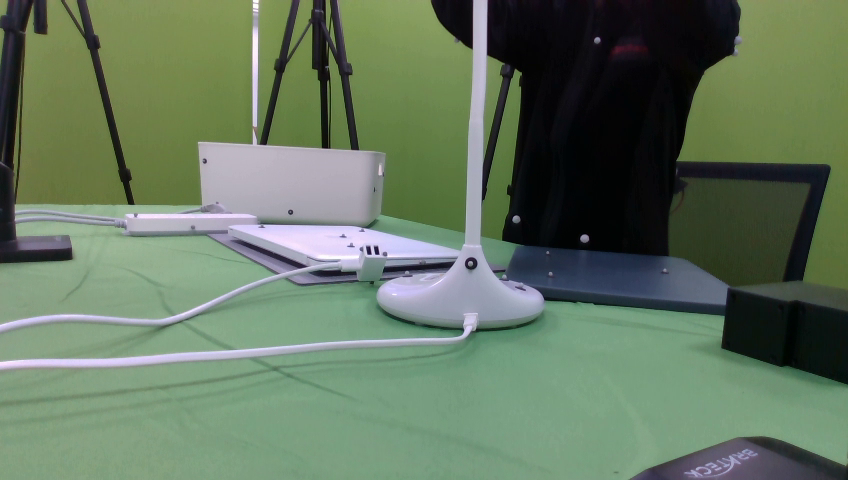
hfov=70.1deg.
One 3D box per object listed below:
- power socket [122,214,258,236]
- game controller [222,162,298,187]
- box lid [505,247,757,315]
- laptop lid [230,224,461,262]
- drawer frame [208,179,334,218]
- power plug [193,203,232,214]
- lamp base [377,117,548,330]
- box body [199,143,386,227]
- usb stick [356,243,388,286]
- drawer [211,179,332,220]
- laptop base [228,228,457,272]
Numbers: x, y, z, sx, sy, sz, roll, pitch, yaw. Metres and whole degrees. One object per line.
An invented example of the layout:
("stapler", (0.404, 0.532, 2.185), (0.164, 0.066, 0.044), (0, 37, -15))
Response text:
("power socket", (-0.399, -0.028, 1.049), (0.228, 0.032, 0.072), (-3, 8, -34))
("game controller", (-0.357, -0.143, 1.322), (0.156, 0.051, 0.097), (1, 3, -16))
("box lid", (0.244, 0.044, 0.793), (0.263, 0.015, 0.372), (4, 7, 11))
("laptop lid", (-0.119, 0.000, 0.889), (0.243, 0.013, 0.355), (1, 7, -33))
("drawer frame", (-0.327, -0.093, 1.328), (0.213, 0.082, 0.202), (0, 5, 6))
("power plug", (-0.394, -0.042, 1.139), (0.072, 0.052, 0.035), (-14, 1, 31))
("lamp base", (0.041, -0.020, 0.550), (0.161, 0.180, 0.179), (1, 11, -10))
("box body", (-0.276, -0.124, 1.335), (0.364, 0.160, 0.254), (3, 7, 1))
("usb stick", (-0.058, 0.029, 0.658), (0.027, 0.059, 0.021), (-5, 52, -18))
("drawer", (-0.328, -0.095, 1.332), (0.212, 0.073, 0.194), (5, 8, 6))
("laptop base", (-0.122, 0.011, 0.889), (0.237, 0.023, 0.352), (2, 6, -35))
